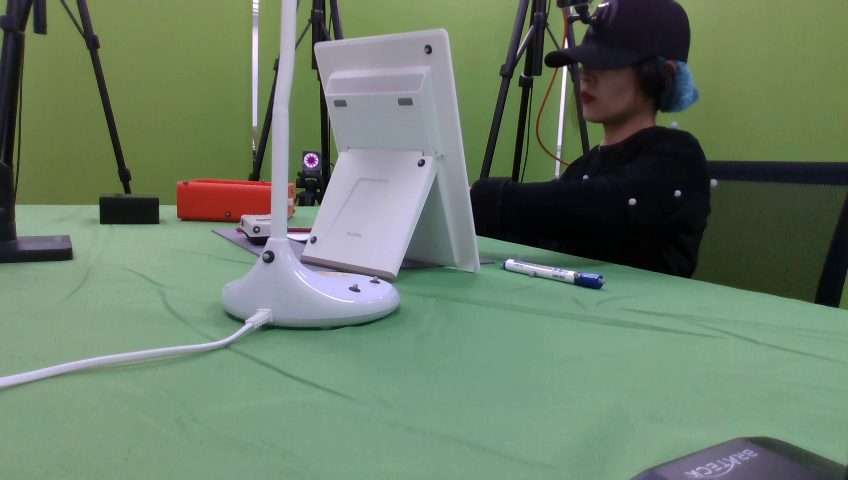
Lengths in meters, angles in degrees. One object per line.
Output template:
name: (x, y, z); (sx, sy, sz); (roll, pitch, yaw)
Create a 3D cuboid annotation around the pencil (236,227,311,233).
pencil: (-0.239, -0.017, 1.093); (0.195, 0.012, 0.012); (1, 7, -27)

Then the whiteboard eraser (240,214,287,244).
whiteboard eraser: (-0.256, -0.018, 0.958); (0.056, 0.042, 0.112); (0, 8, -25)

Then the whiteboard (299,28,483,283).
whiteboard: (-0.075, -0.082, 0.741); (0.216, 0.305, 0.144); (9, 30, 38)

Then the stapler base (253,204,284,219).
stapler base: (-0.337, -0.065, 1.308); (0.041, 0.024, 0.130); (1, 9, -1)

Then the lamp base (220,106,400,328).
lamp base: (-0.101, -0.023, 0.531); (0.160, 0.180, 0.179); (4, 10, 10)

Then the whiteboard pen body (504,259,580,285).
whiteboard pen body: (0.157, 0.042, 0.764); (0.017, 0.017, 0.140); (-4, 11, -41)

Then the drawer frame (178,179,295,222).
drawer frame: (-0.397, -0.088, 1.315); (0.214, 0.082, 0.201); (1, 8, -7)

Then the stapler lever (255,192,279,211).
stapler lever: (-0.338, -0.088, 1.305); (0.027, 0.040, 0.118); (1, 11, -1)

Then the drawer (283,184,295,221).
drawer: (-0.394, -0.087, 1.317); (0.212, 0.073, 0.194); (1, 8, -7)

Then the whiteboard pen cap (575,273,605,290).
whiteboard pen cap: (0.197, 0.047, 0.719); (0.018, 0.018, 0.033); (-4, 11, -41)
